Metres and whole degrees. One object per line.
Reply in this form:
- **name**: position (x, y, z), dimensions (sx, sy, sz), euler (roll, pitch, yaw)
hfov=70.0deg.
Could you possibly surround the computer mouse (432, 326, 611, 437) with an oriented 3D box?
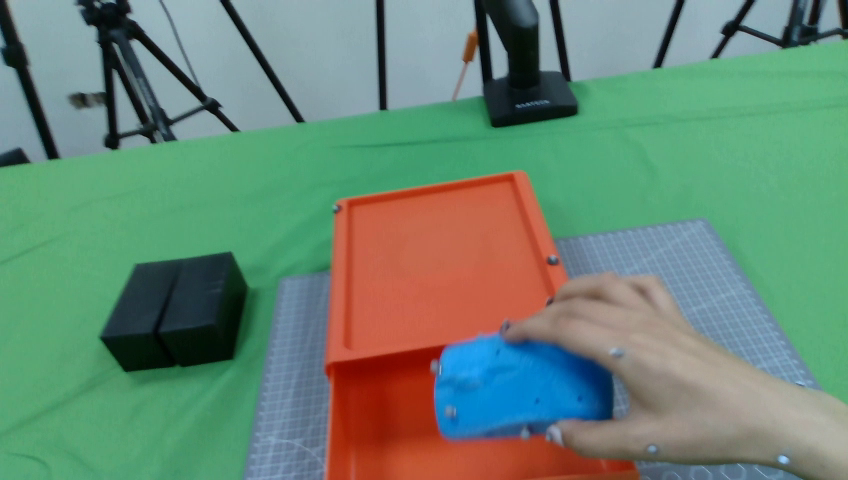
- **computer mouse**: position (0.059, 0.091, 0.389), dimensions (0.117, 0.041, 0.062), euler (-10, 56, 21)

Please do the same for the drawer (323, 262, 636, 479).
- **drawer**: position (0.028, 0.111, 0.458), dimensions (0.194, 0.074, 0.209), euler (-10, 40, 2)

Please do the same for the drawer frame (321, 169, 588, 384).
- **drawer frame**: position (0.018, 0.038, 0.545), dimensions (0.202, 0.083, 0.211), euler (-10, 39, 1)
